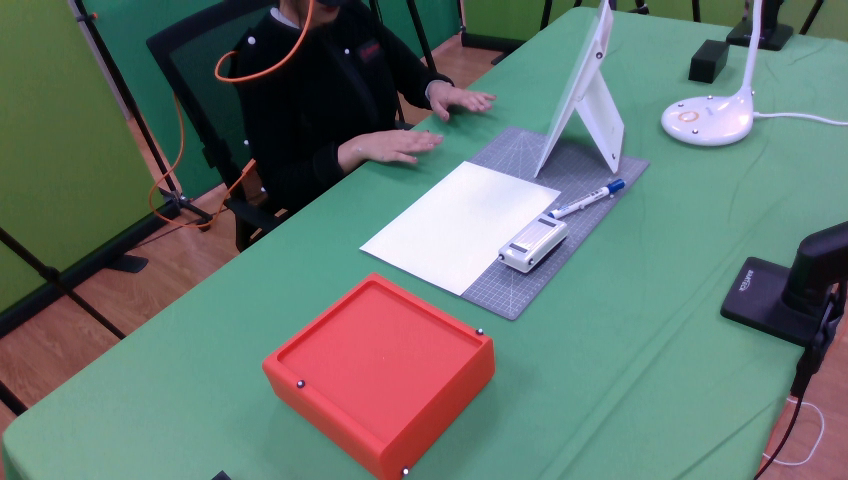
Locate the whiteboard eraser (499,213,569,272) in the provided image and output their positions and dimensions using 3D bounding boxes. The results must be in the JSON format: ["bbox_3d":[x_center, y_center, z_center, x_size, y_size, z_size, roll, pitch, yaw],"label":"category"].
[{"bbox_3d":[0.168,0.006,0.923,0.055,0.042,0.113,29,53,34],"label":"whiteboard eraser"}]

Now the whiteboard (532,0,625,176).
[{"bbox_3d":[0.320,-0.259,1.050,0.144,0.306,0.217,21,45,5],"label":"whiteboard"}]

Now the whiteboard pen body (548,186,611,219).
[{"bbox_3d":[0.267,-0.066,1.004,0.141,0.017,0.017,-25,43,-13],"label":"whiteboard pen body"}]

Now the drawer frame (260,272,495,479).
[{"bbox_3d":[-0.055,0.159,0.758,0.212,0.083,0.202,26,50,33],"label":"drawer frame"}]

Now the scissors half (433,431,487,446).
[{"bbox_3d":[0.000,0.234,0.706,0.176,0.040,0.012,11,26,-25],"label":"scissors half"}]

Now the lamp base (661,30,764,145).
[{"bbox_3d":[0.535,-0.287,1.096,0.179,0.181,0.159,-10,40,-4],"label":"lamp base"}]

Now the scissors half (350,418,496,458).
[{"bbox_3d":[0.002,0.224,0.700,0.176,0.040,0.012,-5,38,-17],"label":"scissors half"}]

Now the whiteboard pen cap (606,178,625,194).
[{"bbox_3d":[0.320,-0.090,1.016,0.033,0.018,0.018,-27,43,-14],"label":"whiteboard pen cap"}]

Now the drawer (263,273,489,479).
[{"bbox_3d":[-0.057,0.159,0.759,0.210,0.073,0.195,27,51,34],"label":"drawer"}]
